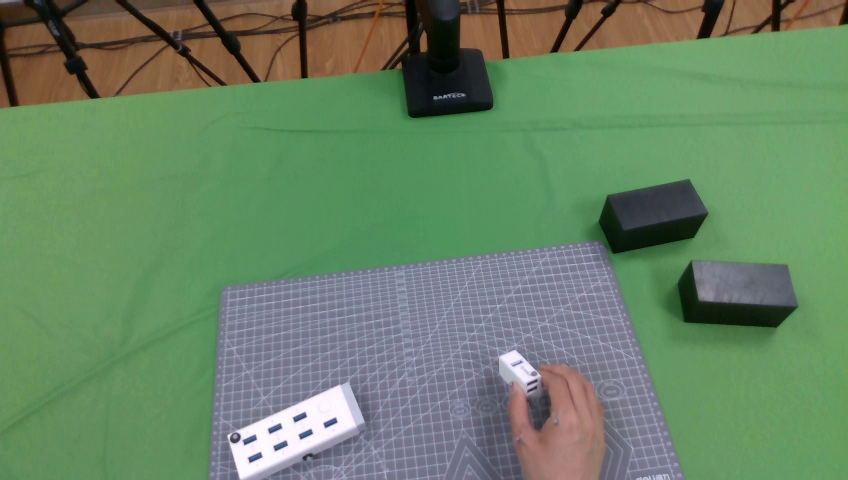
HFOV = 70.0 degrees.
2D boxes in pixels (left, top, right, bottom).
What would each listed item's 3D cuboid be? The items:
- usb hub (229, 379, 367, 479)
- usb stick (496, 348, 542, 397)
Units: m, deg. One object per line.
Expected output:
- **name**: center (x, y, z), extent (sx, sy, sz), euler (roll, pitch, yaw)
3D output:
- **usb hub**: center (-0.123, 0.185, 0.596), extent (0.125, 0.025, 0.049), euler (-22, 59, -12)
- **usb stick**: center (0.090, 0.126, 0.596), extent (0.021, 0.027, 0.058), euler (-19, 28, -20)
